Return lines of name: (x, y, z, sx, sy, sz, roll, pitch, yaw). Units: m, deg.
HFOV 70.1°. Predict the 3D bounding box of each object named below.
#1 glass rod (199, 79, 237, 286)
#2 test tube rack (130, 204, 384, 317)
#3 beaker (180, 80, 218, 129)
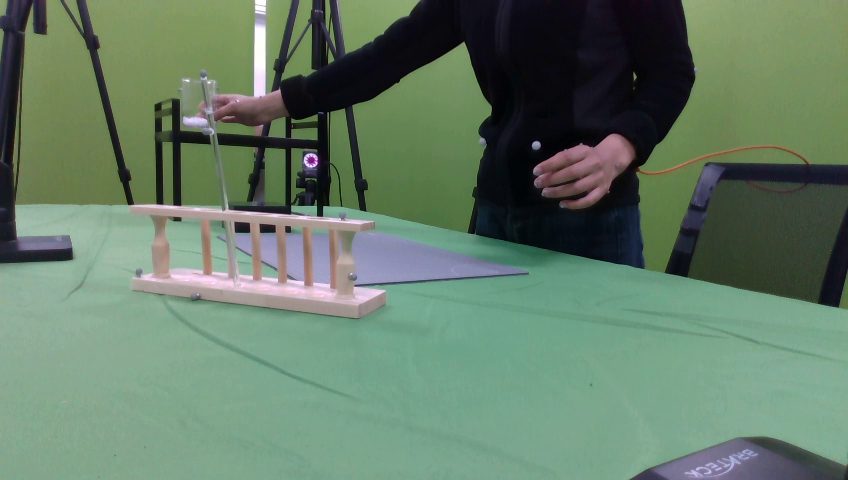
glass rod: (-0.194, -0.050, 0.569, 0.008, 0.199, 0.008, -6, 7, 1)
test tube rack: (-0.163, 0.013, 0.589, 0.242, 0.085, 0.067, 5, 8, 17)
beaker: (-0.473, -0.286, 1.283, 0.074, 0.100, 0.083, -5, 15, -32)
